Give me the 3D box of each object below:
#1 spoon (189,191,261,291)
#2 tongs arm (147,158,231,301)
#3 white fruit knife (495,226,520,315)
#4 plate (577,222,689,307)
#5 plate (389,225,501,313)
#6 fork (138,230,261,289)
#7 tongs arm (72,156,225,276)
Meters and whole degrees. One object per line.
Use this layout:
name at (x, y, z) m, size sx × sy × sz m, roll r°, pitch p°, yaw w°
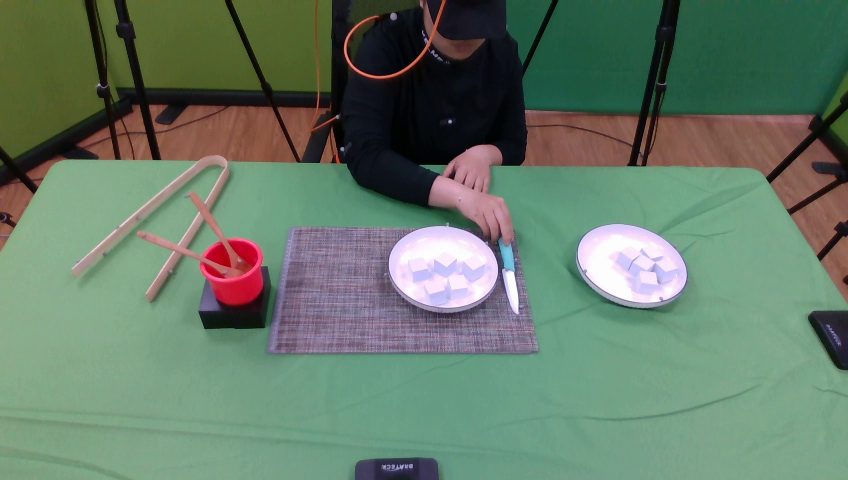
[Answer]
spoon at (-0.333, 0.001, 1.012) m, size 0.041 × 0.194 × 0.021 m, roll -34°, pitch 15°, yaw -25°
tongs arm at (-0.454, -0.034, 1.194) m, size 0.028 × 0.028 × 0.385 m, roll 7°, pitch 46°, yaw 6°
white fruit knife at (0.162, 0.054, 1.152) m, size 0.027 × 0.016 × 0.206 m, roll -7°, pitch 52°, yaw 3°
plate at (0.396, 0.050, 1.165) m, size 0.209 × 0.038 × 0.208 m, roll 2°, pitch 47°, yaw -2°
plate at (0.038, 0.057, 1.129) m, size 0.208 × 0.039 × 0.206 m, roll 2°, pitch 46°, yaw -2°
fork at (-0.360, 0.032, 0.981) m, size 0.208 × 0.018 × 0.028 m, roll 31°, pitch 60°, yaw -30°
tongs arm at (-0.531, -0.057, 1.205) m, size 0.050 × 0.026 × 0.383 m, roll 19°, pitch 47°, yaw 13°
